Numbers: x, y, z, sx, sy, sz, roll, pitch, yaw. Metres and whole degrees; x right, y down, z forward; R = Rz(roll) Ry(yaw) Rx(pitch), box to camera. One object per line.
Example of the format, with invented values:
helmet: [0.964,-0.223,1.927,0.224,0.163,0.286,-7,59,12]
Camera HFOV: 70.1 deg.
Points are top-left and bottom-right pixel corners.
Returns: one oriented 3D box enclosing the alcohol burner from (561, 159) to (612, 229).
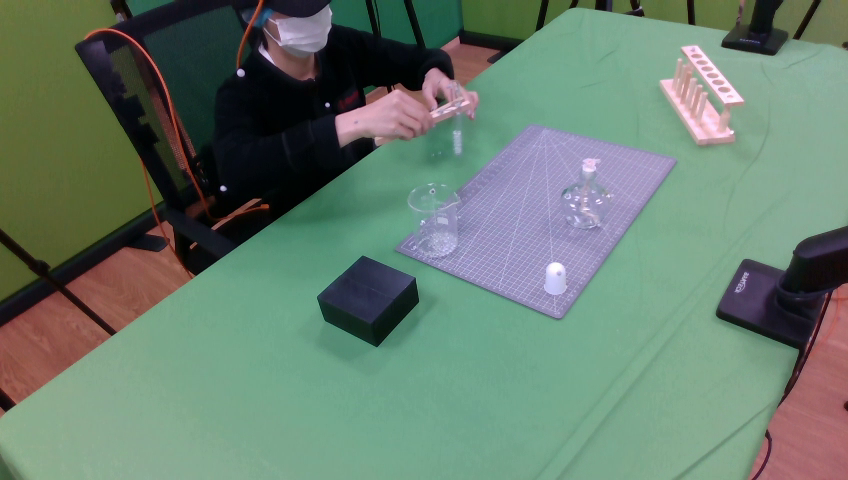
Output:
alcohol burner: [0.257,-0.077,0.951,0.078,0.119,0.077,-3,40,3]

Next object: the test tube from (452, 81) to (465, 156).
test tube: [0.059,-0.203,1.025,0.017,0.151,0.017,-3,48,4]

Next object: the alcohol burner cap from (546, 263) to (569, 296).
alcohol burner cap: [0.191,0.053,0.862,0.034,0.048,0.033,-5,40,4]

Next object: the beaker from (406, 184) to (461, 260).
beaker: [0.019,-0.026,0.939,0.084,0.101,0.074,1,41,9]

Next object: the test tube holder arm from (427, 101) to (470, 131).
test tube holder arm: [0.041,-0.205,0.996,0.088,0.015,0.010,-36,11,-29]

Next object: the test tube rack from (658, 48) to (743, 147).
test tube rack: [0.532,-0.284,1.181,0.067,0.085,0.241,-5,40,4]

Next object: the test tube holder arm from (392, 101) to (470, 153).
test tube holder arm: [0.014,-0.183,0.967,0.179,0.015,0.013,-38,12,-35]
